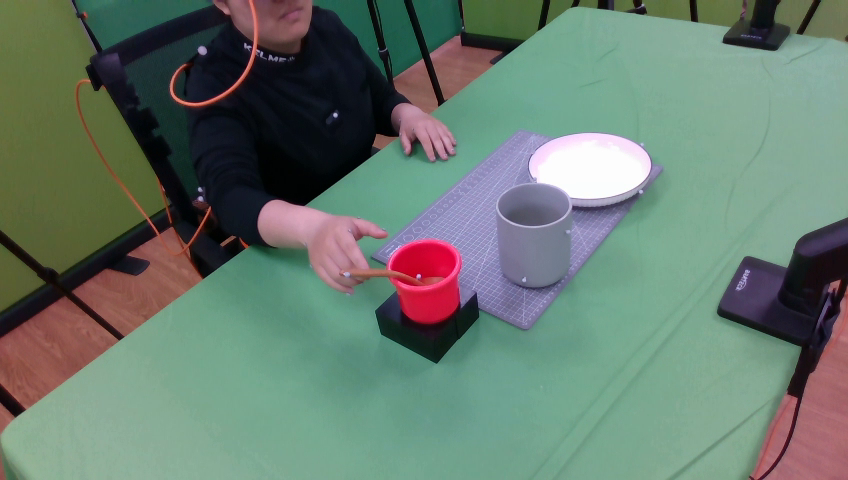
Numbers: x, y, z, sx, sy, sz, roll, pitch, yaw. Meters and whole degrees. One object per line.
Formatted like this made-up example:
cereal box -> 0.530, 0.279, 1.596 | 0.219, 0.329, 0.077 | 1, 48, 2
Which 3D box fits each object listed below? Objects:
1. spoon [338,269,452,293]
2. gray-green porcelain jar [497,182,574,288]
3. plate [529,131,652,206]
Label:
spoon -> -0.033, 0.047, 0.758 | 0.041, 0.021, 0.195 | 30, 10, 41
gray-green porcelain jar -> 0.160, -0.003, 0.869 | 0.106, 0.127, 0.105 | -5, 40, 5
plate -> 0.287, -0.122, 1.055 | 0.207, 0.039, 0.206 | -5, 40, 5
